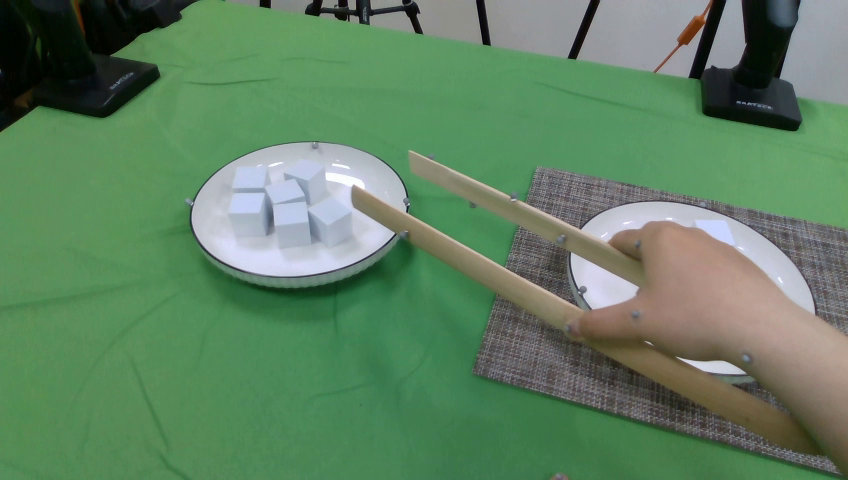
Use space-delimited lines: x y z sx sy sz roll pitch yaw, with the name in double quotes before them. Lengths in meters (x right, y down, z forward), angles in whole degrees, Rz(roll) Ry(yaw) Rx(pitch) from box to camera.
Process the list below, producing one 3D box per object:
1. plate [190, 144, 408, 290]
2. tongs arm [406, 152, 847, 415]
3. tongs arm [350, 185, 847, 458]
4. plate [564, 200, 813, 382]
"plate" -0.119 -0.023 0.602 0.209 0.038 0.207 2 43 -1
"tongs arm" 0.115 0.019 0.444 0.381 0.027 0.051 28 48 30
"tongs arm" 0.087 0.039 0.422 0.384 0.028 0.028 28 44 30
"plate" 0.228 0.043 0.542 0.208 0.039 0.205 1 43 -1
